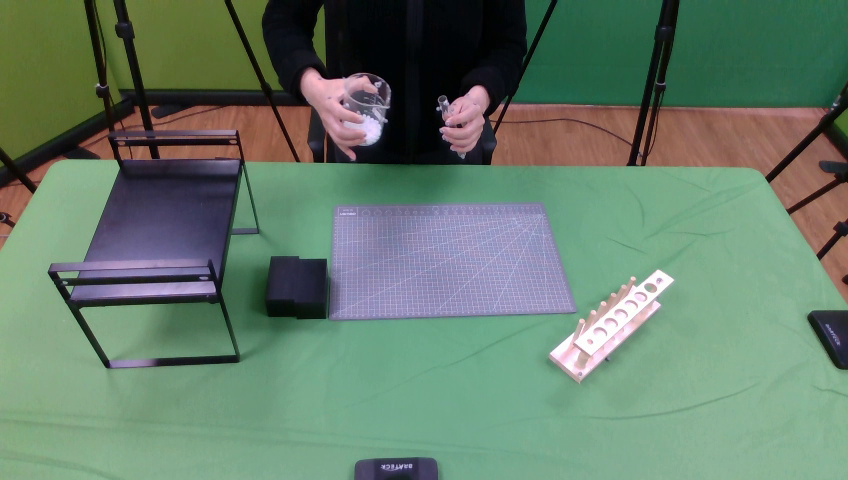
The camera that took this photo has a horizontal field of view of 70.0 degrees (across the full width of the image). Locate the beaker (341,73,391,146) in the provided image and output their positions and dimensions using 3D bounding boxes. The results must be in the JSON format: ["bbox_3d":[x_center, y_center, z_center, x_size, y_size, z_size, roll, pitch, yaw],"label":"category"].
[{"bbox_3d":[-0.097,-0.212,1.003,0.084,0.100,0.074,37,56,12],"label":"beaker"}]

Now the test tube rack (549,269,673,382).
[{"bbox_3d":[0.325,0.134,1.047,0.242,0.085,0.066,-32,56,-30],"label":"test tube rack"}]

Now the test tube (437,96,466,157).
[{"bbox_3d":[0.049,-0.192,1.038,0.017,0.151,0.017,-8,58,14],"label":"test tube"}]
